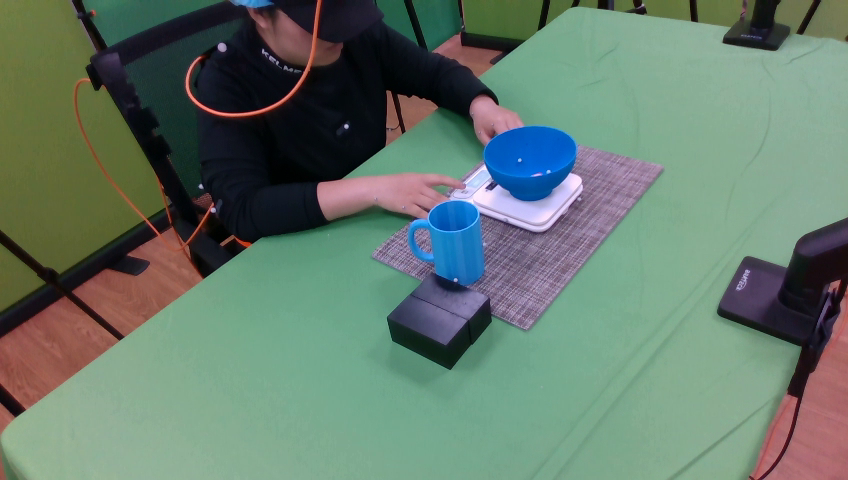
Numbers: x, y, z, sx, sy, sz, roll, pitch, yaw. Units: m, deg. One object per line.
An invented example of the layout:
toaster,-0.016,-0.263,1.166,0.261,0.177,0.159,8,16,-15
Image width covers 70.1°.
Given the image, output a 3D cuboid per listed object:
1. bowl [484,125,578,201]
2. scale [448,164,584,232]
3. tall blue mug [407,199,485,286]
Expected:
bowl,0.175,-0.117,0.991,0.151,0.077,0.150,-6,41,5
scale,0.156,-0.085,1.040,0.199,0.032,0.149,22,49,33
tall blue mug,0.034,0.008,0.892,0.107,0.108,0.077,-13,41,-5
